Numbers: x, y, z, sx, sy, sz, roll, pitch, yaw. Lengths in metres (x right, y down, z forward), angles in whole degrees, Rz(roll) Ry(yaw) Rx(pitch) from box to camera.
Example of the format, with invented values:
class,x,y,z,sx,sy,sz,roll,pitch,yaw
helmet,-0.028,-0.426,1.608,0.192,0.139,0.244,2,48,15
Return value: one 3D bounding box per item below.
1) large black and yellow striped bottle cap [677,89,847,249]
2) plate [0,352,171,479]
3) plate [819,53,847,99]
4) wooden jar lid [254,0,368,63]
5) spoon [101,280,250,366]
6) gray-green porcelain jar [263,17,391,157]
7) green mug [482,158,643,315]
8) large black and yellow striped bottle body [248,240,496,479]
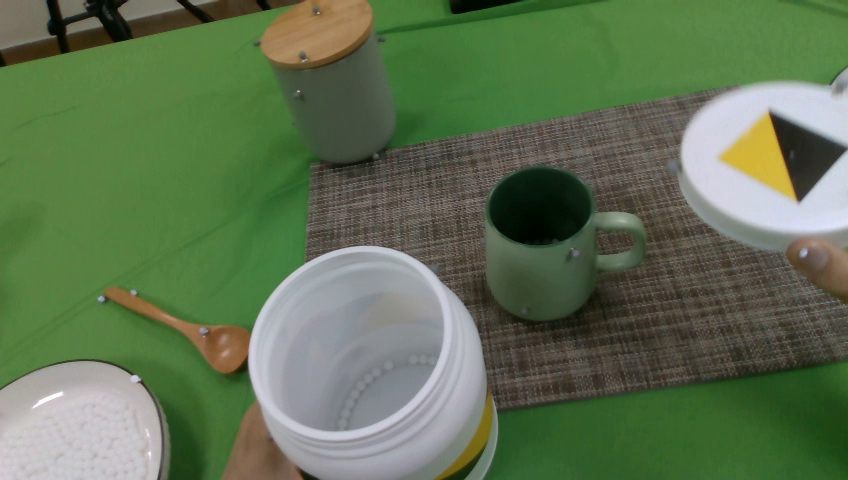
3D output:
class,x,y,z,sx,sy,sz,roll,pitch,yaw
large black and yellow striped bottle cap,0.209,-0.045,0.352,0.115,0.019,0.114,-10,50,12
plate,-0.291,0.188,0.467,0.209,0.038,0.207,-5,54,7
plate,0.452,-0.100,0.522,0.207,0.039,0.205,-5,55,8
wooden jar lid,-0.103,-0.196,0.564,0.108,0.021,0.107,-7,53,10
spoon,-0.230,0.067,0.550,0.192,0.022,0.041,19,77,22
gray-green porcelain jar,-0.092,-0.156,0.613,0.106,0.128,0.105,-6,50,7
green mug,0.106,-0.001,0.476,0.125,0.106,0.091,-2,55,10
large black and yellow striped bottle body,-0.024,0.092,0.388,0.130,0.186,0.129,-5,59,8
